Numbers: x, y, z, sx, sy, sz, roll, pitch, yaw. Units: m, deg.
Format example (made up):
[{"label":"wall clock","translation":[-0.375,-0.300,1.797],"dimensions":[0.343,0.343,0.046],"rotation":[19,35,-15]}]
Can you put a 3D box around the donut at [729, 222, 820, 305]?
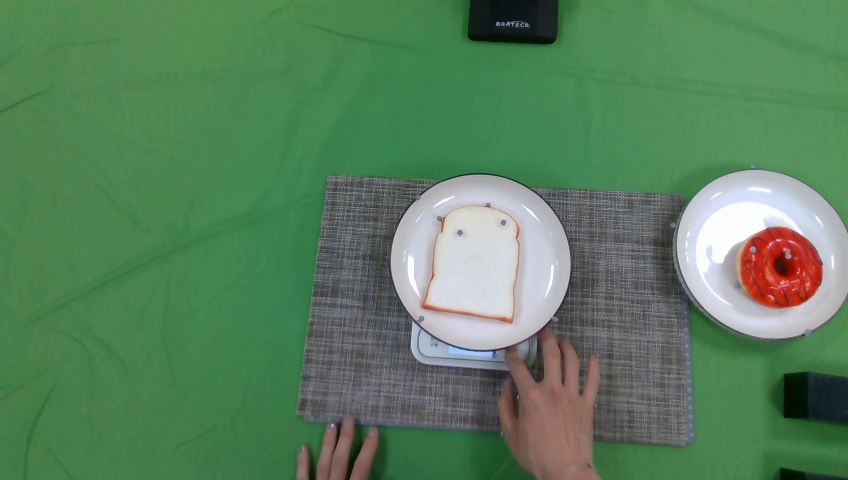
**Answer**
[{"label":"donut","translation":[0.409,0.028,0.709],"dimensions":[0.099,0.048,0.098],"rotation":[0,80,0]}]

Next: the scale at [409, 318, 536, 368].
[{"label":"scale","translation":[0.062,0.048,0.726],"dimensions":[0.148,0.032,0.200],"rotation":[4,77,3]}]

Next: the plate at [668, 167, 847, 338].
[{"label":"plate","translation":[0.394,0.015,0.725],"dimensions":[0.207,0.039,0.206],"rotation":[0,76,1]}]

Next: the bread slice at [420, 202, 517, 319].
[{"label":"bread slice","translation":[0.056,0.020,0.701],"dimensions":[0.105,0.019,0.131],"rotation":[8,77,2]}]

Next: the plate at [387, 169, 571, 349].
[{"label":"plate","translation":[0.062,0.021,0.698],"dimensions":[0.209,0.038,0.208],"rotation":[0,76,1]}]
